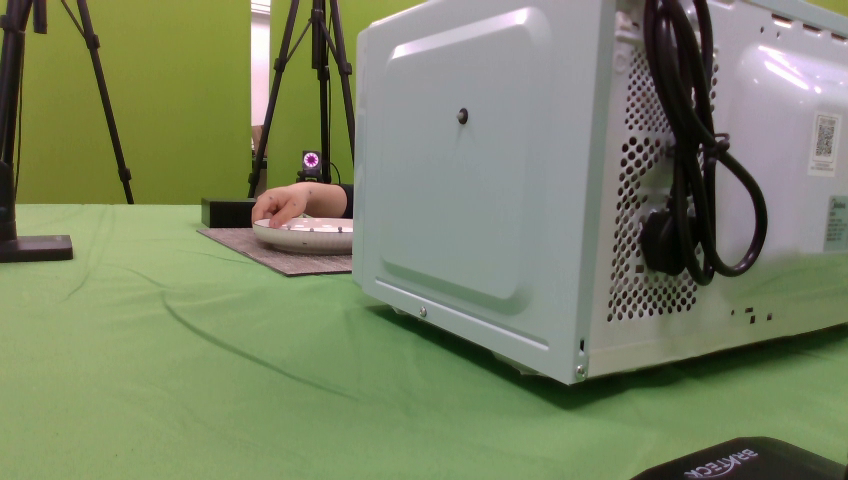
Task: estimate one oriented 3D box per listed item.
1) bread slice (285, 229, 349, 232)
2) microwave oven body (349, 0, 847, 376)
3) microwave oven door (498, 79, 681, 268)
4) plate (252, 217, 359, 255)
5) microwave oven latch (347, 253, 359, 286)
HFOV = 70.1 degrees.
[{"bbox_3d":[-0.153,-0.004,0.921,0.132,0.019,0.104,0,7,-30],"label":"bread slice"},{"bbox_3d":[0.199,-0.053,0.540,0.444,0.260,0.324,-1,7,-32],"label":"microwave oven body"},{"bbox_3d":[0.230,-0.105,0.923,0.039,0.243,0.354,-1,8,-26],"label":"microwave oven door"},{"bbox_3d":[-0.155,-0.007,0.924,0.209,0.038,0.209,3,7,0],"label":"plate"},{"bbox_3d":[-0.034,0.028,0.581,0.079,0.029,0.030,-1,7,-32],"label":"microwave oven latch"}]
